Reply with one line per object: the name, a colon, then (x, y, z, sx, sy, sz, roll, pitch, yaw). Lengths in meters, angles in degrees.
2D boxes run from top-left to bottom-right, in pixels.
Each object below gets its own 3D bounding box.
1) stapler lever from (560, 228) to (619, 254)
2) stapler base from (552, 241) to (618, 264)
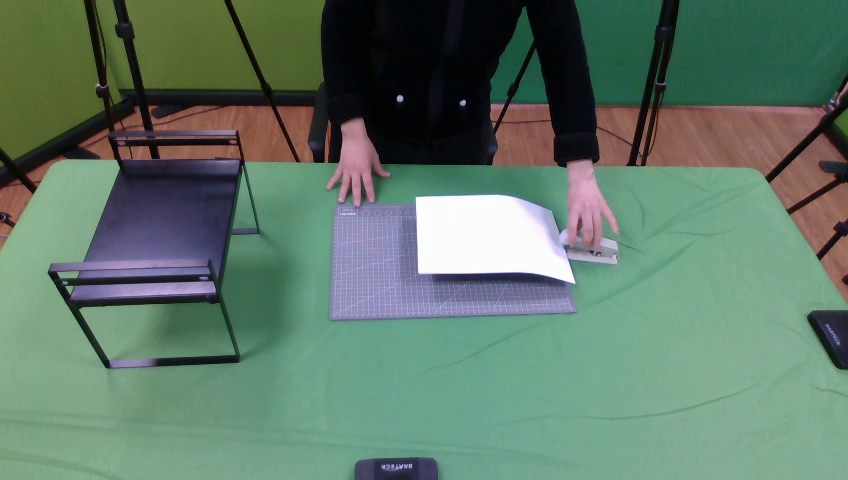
stapler lever: (0.324, 0.002, 1.182, 0.118, 0.040, 0.026, 7, 50, -1)
stapler base: (0.321, 0.019, 1.200, 0.130, 0.024, 0.041, 7, 50, -1)
